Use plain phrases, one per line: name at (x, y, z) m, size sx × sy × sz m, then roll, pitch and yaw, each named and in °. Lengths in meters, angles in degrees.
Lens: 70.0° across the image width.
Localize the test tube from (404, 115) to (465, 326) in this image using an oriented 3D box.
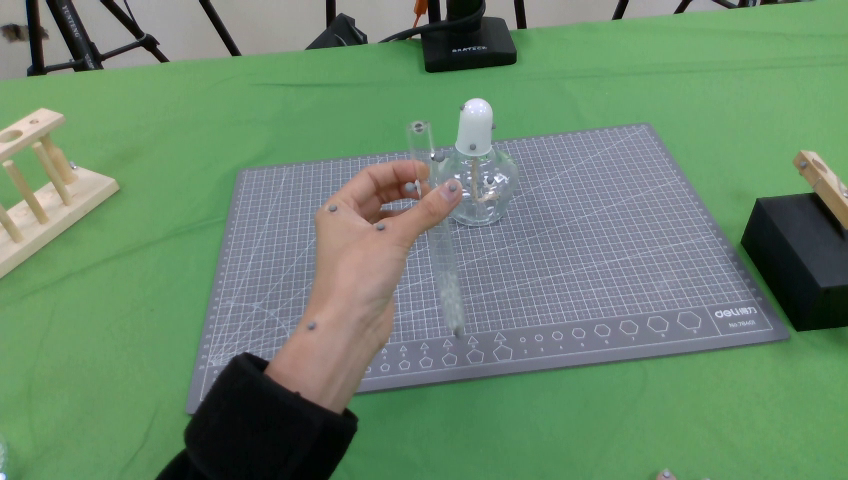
test tube at (0.008, -0.006, 0.390) m, size 0.017 × 0.151 × 0.017 m, roll -9°, pitch 28°, yaw 5°

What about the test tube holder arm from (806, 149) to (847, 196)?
test tube holder arm at (0.329, -0.012, 0.454) m, size 0.013 × 0.015 × 0.176 m, roll 1°, pitch 44°, yaw -6°

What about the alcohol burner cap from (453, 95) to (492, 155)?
alcohol burner cap at (0.043, -0.099, 0.516) m, size 0.034 × 0.048 × 0.033 m, roll 1°, pitch 43°, yaw -1°

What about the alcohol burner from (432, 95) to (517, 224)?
alcohol burner at (0.045, -0.074, 0.541) m, size 0.078 × 0.120 × 0.077 m, roll -3°, pitch 42°, yaw 3°

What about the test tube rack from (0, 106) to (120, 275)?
test tube rack at (-0.411, -0.020, 0.553) m, size 0.066 × 0.086 × 0.241 m, roll 18°, pitch 48°, yaw 22°

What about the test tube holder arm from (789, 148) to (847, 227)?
test tube holder arm at (0.320, -0.043, 0.485) m, size 0.010 × 0.015 × 0.087 m, roll 1°, pitch 44°, yaw -6°

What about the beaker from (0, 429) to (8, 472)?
beaker at (-0.327, 0.127, 0.383) m, size 0.084 × 0.101 × 0.073 m, roll -24°, pitch 47°, yaw -18°
